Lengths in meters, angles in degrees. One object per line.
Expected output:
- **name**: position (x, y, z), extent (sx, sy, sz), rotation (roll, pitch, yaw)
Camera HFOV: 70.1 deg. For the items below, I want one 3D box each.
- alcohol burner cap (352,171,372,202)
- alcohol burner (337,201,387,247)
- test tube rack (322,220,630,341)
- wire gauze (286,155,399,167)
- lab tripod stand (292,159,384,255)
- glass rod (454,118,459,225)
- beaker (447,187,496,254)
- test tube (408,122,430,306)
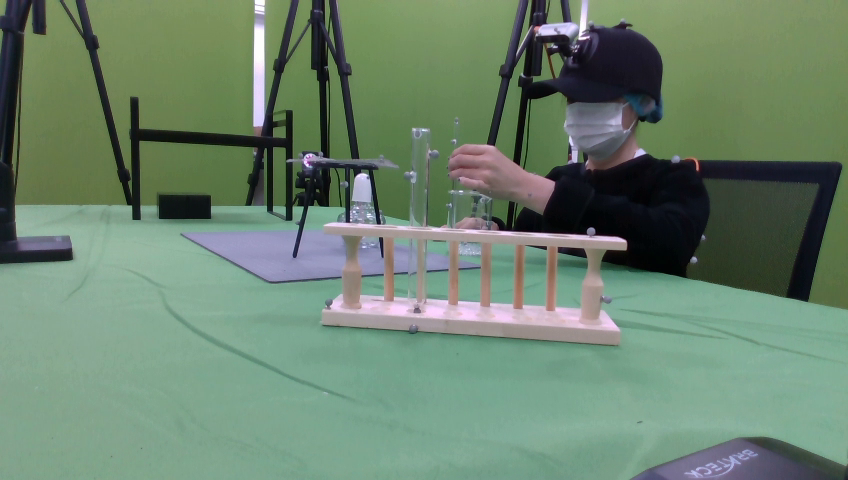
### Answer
- **alcohol burner cap**: position (-0.096, -0.084, 0.951), extent (0.034, 0.048, 0.034), rotation (6, 5, 0)
- **alcohol burner**: position (-0.098, -0.049, 0.954), extent (0.078, 0.119, 0.078), rotation (0, 7, 0)
- **test tube rack**: position (0.041, 0.029, 0.512), extent (0.242, 0.085, 0.067), rotation (3, 7, 5)
- **wire gauze**: position (-0.101, -0.105, 0.788), extent (0.121, 0.011, 0.125), rotation (4, 6, 6)
- **lab tripod stand**: position (-0.105, -0.039, 0.797), extent (0.148, 0.131, 0.148), rotation (2, 5, 0)
- **glass rod**: position (0.049, -0.088, 0.935), extent (0.008, 0.199, 0.008), rotation (0, 13, 0)
- **beaker**: position (0.076, -0.031, 0.949), extent (0.074, 0.100, 0.083), rotation (-5, 11, -42)
- **test tube**: position (-0.004, -0.019, 0.489), extent (0.017, 0.150, 0.017), rotation (1, 11, 0)
